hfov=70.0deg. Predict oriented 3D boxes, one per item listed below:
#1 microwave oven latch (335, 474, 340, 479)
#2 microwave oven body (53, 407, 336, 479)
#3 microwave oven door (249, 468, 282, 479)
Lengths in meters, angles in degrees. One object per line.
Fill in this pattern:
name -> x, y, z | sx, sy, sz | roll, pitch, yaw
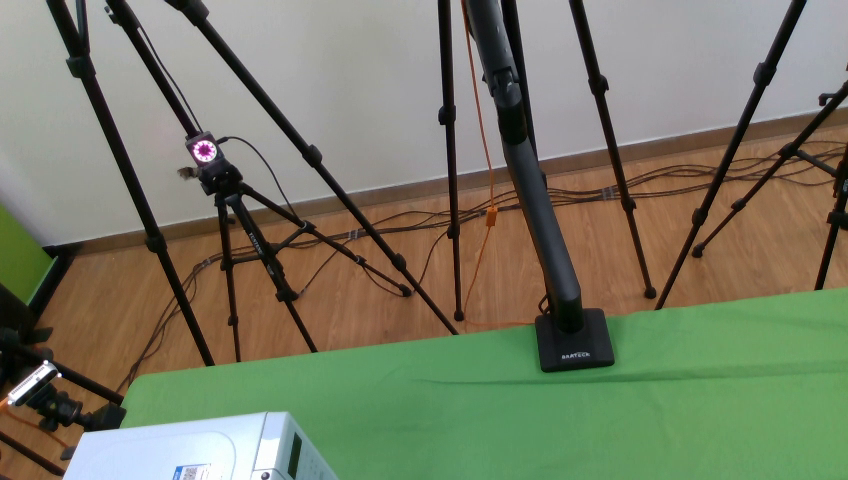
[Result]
microwave oven latch -> -0.140, 0.390, 0.894 | 0.030, 0.030, 0.078 | -9, 45, 9
microwave oven body -> -0.309, 0.470, 0.728 | 0.325, 0.263, 0.437 | -9, 45, 9
microwave oven door -> -0.168, 0.472, 0.671 | 0.039, 0.246, 0.352 | -10, 44, 10
